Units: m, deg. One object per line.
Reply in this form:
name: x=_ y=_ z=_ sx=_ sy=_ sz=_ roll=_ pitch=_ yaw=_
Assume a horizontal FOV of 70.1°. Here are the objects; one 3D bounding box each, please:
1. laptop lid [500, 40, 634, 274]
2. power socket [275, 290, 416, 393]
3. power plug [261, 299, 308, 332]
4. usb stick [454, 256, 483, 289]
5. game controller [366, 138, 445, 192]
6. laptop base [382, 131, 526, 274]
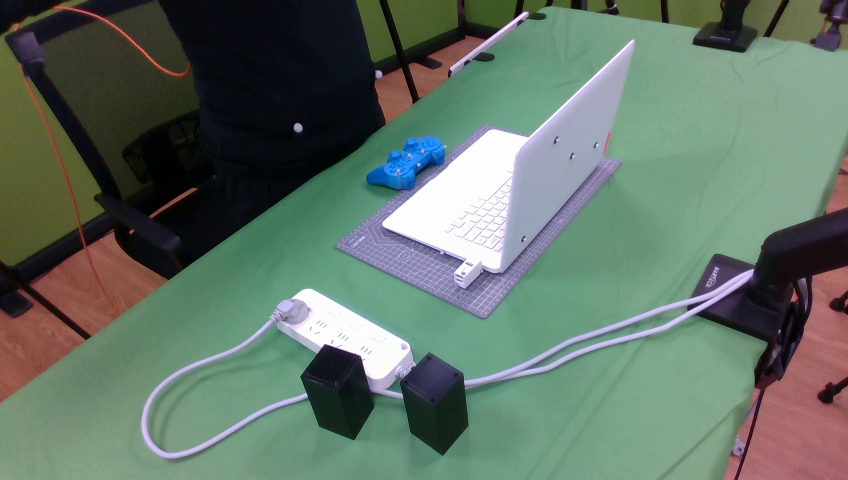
laptop lid: x=0.218 y=-0.128 z=0.906 sx=0.013 sy=0.242 sz=0.358 roll=28 pitch=50 yaw=25
power socket: x=-0.114 y=0.133 z=0.821 sx=0.225 sy=0.033 sz=0.072 roll=24 pitch=48 yaw=31
power plug: x=-0.193 y=0.109 z=0.830 sx=0.073 sy=0.053 sz=0.035 roll=-35 pitch=47 yaw=-23
usb stick: x=0.069 y=0.044 z=0.890 sx=0.021 sy=0.027 sz=0.059 roll=22 pitch=44 yaw=33
game controller: x=-0.030 y=-0.147 z=1.128 sx=0.096 sy=0.052 sz=0.155 roll=24 pitch=49 yaw=30
laptop base: x=0.123 y=-0.081 z=1.049 sx=0.233 sy=0.023 sz=0.355 roll=20 pitch=47 yaw=33
